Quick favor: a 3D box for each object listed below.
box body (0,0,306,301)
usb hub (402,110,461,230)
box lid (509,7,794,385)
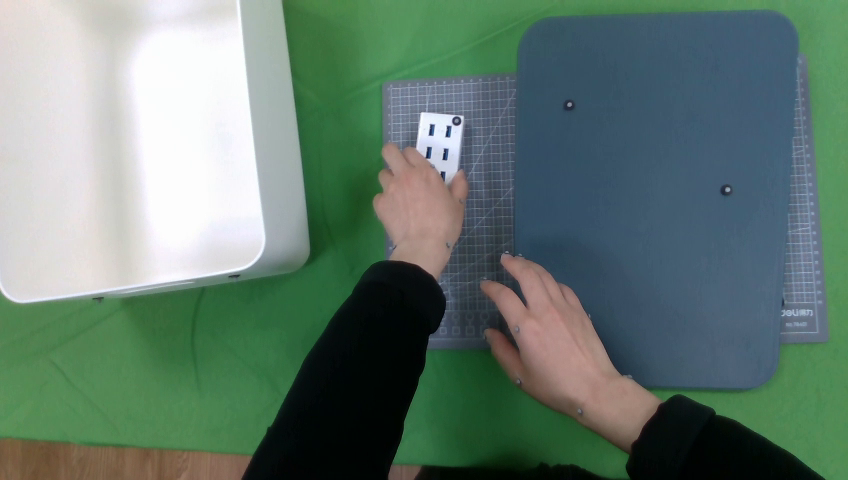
[{"bbox_3d":[-0.276,-0.129,0.625,0.254,0.161,0.363,-9,84,5],"label":"box body"},{"bbox_3d":[0.009,-0.075,0.653,0.049,0.025,0.125,7,86,6],"label":"usb hub"},{"bbox_3d":[0.217,-0.035,0.602,0.263,0.015,0.372,0,97,7],"label":"box lid"}]
